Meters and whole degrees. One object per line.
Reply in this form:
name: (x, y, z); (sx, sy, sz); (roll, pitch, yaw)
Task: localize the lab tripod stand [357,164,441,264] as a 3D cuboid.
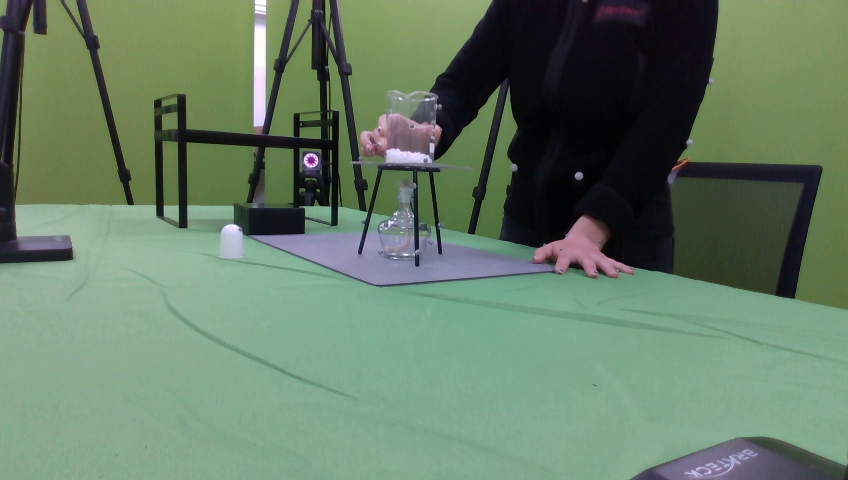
lab tripod stand: (-0.024, -0.041, 0.859); (0.148, 0.131, 0.148); (2, 5, 0)

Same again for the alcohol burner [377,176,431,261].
alcohol burner: (-0.028, -0.031, 0.859); (0.078, 0.119, 0.078); (2, 9, 0)

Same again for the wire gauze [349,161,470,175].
wire gauze: (-0.019, -0.105, 0.847); (0.121, 0.011, 0.126); (11, 8, 42)

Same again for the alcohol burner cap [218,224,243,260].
alcohol burner cap: (-0.263, 0.002, 0.824); (0.034, 0.048, 0.034); (5, 8, 0)

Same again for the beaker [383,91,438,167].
beaker: (-0.020, -0.152, 0.838); (0.074, 0.100, 0.084); (4, 6, 7)
